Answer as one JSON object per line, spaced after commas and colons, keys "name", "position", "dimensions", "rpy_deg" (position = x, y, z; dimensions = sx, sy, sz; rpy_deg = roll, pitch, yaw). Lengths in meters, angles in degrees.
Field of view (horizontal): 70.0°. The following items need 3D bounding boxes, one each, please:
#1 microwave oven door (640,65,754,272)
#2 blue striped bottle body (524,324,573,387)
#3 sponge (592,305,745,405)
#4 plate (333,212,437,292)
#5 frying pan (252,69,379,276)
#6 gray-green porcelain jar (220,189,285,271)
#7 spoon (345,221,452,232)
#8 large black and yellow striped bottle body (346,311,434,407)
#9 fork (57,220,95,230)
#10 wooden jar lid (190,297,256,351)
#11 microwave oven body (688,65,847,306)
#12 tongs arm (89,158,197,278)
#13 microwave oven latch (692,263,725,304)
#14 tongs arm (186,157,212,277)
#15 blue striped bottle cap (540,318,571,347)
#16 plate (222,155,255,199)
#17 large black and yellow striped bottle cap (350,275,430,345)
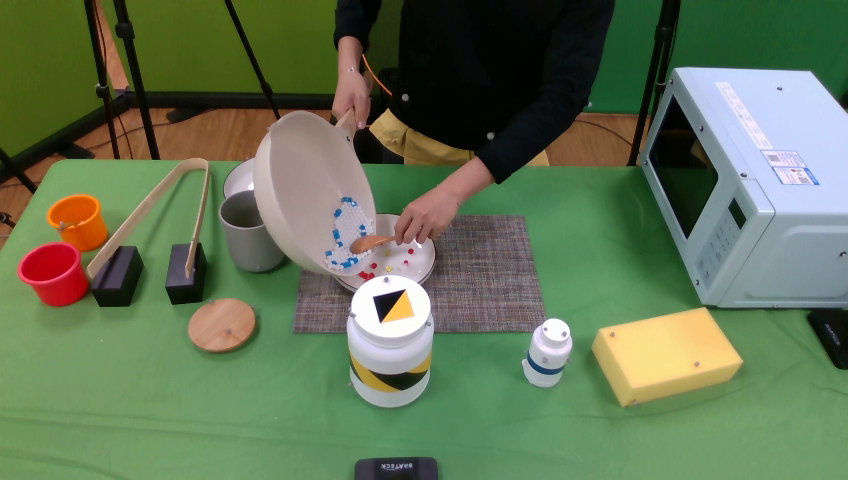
{"name": "microwave oven door", "position": [0.524, -0.148, 1.193], "dimensions": [0.039, 0.245, 0.353], "rpy_deg": [0, 47, -3]}
{"name": "blue striped bottle body", "position": [0.200, 0.178, 0.970], "dimensions": [0.063, 0.121, 0.062], "rpy_deg": [2, 46, -2]}
{"name": "sponge", "position": [0.405, 0.190, 1.014], "dimensions": [0.207, 0.061, 0.117], "rpy_deg": [-10, 48, -12]}
{"name": "plate", "position": [-0.080, 0.030, 1.143], "dimensions": [0.209, 0.038, 0.208], "rpy_deg": [2, 46, -2]}
{"name": "frying pan", "position": [-0.161, -0.153, 1.100], "dimensions": [0.102, 0.309, 0.485], "rpy_deg": [-10, 46, 31]}
{"name": "gray-green porcelain jar", "position": [-0.309, -0.014, 1.113], "dimensions": [0.106, 0.127, 0.105], "rpy_deg": [2, 46, -2]}
{"name": "spoon", "position": [-0.045, -0.024, 1.101], "dimensions": [0.194, 0.041, 0.021], "rpy_deg": [0, 88, -10]}
{"name": "large black and yellow striped bottle body", "position": [-0.052, 0.157, 0.929], "dimensions": [0.131, 0.185, 0.130], "rpy_deg": [2, 47, -2]}
{"name": "fork", "position": [-0.624, -0.027, 1.086], "dimensions": [0.028, 0.207, 0.018], "rpy_deg": [-3, 92, -17]}
{"name": "wooden jar lid", "position": [-0.342, 0.145, 1.033], "dimensions": [0.108, 0.021, 0.107], "rpy_deg": [2, 45, -2]}
{"name": "microwave oven body", "position": [0.669, -0.111, 1.176], "dimensions": [0.326, 0.261, 0.439], "rpy_deg": [0, 46, -3]}
{"name": "tongs arm", "position": [-0.530, -0.057, 1.163], "dimensions": [0.028, 0.028, 0.385], "rpy_deg": [1, 36, 8]}
{"name": "microwave oven latch", "position": [0.522, 0.081, 1.116], "dimensions": [0.030, 0.029, 0.078], "rpy_deg": [1, 46, -2]}
{"name": "tongs arm", "position": [-0.445, -0.058, 1.168], "dimensions": [0.051, 0.026, 0.382], "rpy_deg": [-5, 37, -6]}
{"name": "blue striped bottle cap", "position": [0.203, 0.142, 0.933], "dimensions": [0.044, 0.021, 0.044], "rpy_deg": [3, 49, -4]}
{"name": "plate", "position": [-0.310, -0.106, 1.263], "dimensions": [0.208, 0.039, 0.206], "rpy_deg": [2, 47, -2]}
{"name": "large black and yellow striped bottle cap", "position": [-0.048, 0.097, 0.868], "dimensions": [0.115, 0.019, 0.114], "rpy_deg": [3, 48, -3]}
